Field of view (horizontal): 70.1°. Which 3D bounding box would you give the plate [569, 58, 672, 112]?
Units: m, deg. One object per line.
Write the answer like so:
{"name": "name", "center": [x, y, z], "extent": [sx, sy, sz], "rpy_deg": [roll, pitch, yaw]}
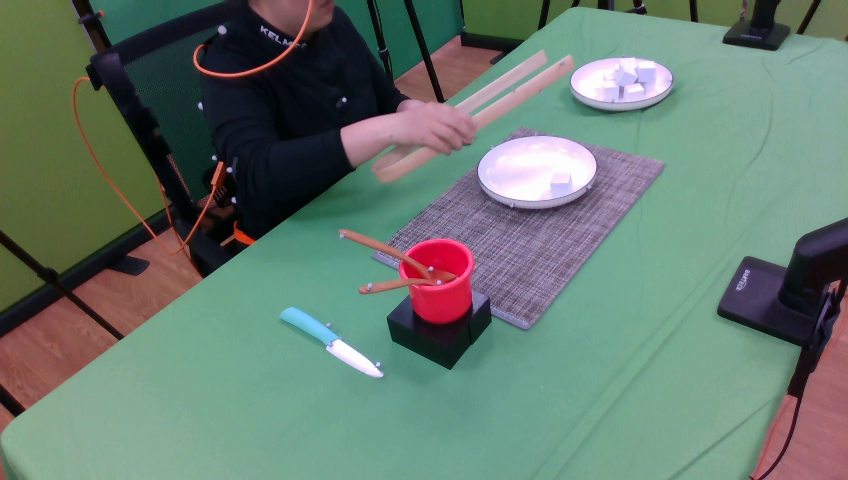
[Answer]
{"name": "plate", "center": [0.411, -0.323, 1.274], "extent": [0.209, 0.038, 0.208], "rpy_deg": [-5, 41, 5]}

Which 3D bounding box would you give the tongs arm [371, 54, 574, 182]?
{"name": "tongs arm", "center": [0.084, -0.207, 1.017], "extent": [0.385, 0.027, 0.050], "rpy_deg": [-34, 33, -7]}

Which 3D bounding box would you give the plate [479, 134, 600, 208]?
{"name": "plate", "center": [0.202, -0.117, 1.065], "extent": [0.207, 0.039, 0.206], "rpy_deg": [-5, 40, 5]}

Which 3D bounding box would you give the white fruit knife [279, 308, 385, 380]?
{"name": "white fruit knife", "center": [-0.130, 0.143, 0.845], "extent": [0.205, 0.016, 0.027], "rpy_deg": [25, 79, 32]}

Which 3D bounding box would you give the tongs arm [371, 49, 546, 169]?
{"name": "tongs arm", "center": [0.065, -0.226, 1.060], "extent": [0.388, 0.028, 0.028], "rpy_deg": [-36, 37, -11]}

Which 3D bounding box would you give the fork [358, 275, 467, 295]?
{"name": "fork", "center": [-0.009, 0.056, 0.739], "extent": [0.028, 0.018, 0.209], "rpy_deg": [48, 23, 26]}

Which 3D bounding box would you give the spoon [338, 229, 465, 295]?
{"name": "spoon", "center": [-0.025, 0.026, 0.776], "extent": [0.021, 0.195, 0.041], "rpy_deg": [-41, 34, 32]}
